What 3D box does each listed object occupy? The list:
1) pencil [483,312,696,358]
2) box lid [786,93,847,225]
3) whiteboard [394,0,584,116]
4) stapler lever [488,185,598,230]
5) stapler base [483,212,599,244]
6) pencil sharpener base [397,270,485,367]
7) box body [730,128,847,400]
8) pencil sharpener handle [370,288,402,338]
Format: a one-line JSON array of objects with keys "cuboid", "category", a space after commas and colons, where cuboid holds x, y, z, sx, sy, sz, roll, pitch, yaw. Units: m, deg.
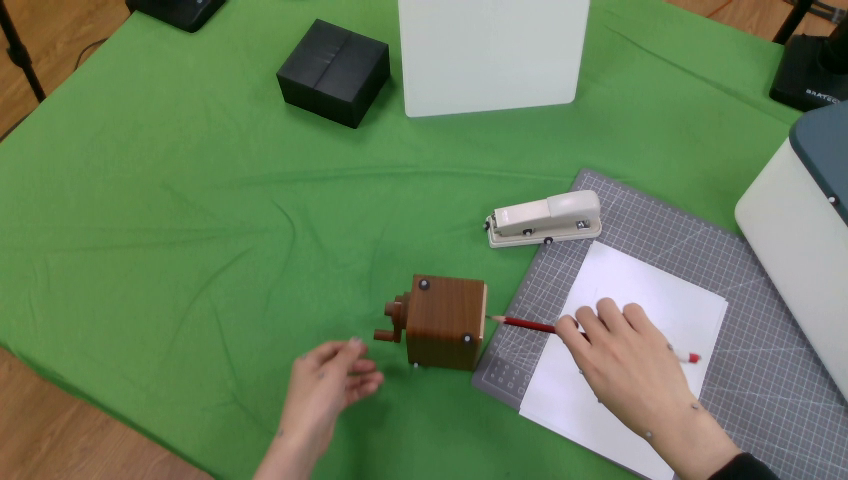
[{"cuboid": [0.149, 0.084, 0.553, 0.194, 0.012, 0.012, 11, 64, 4], "category": "pencil"}, {"cuboid": [0.511, 0.001, 0.517, 0.263, 0.015, 0.368, -17, 66, -9], "category": "box lid"}, {"cuboid": [0.068, -0.323, 0.706, 0.217, 0.308, 0.142, -6, 45, -3], "category": "whiteboard"}, {"cuboid": [0.130, -0.035, 0.661, 0.118, 0.040, 0.026, -7, 60, -1], "category": "stapler lever"}, {"cuboid": [0.133, -0.024, 0.683, 0.130, 0.024, 0.041, -7, 60, 0], "category": "stapler base"}, {"cuboid": [0.015, 0.078, 0.587, 0.076, 0.108, 0.061, 5, 64, 3], "category": "pencil sharpener base"}, {"cuboid": [0.511, 0.035, 0.583, 0.254, 0.161, 0.360, -17, 65, -9], "category": "box body"}, {"cuboid": [-0.036, 0.071, 0.575, 0.030, 0.068, 0.035, 5, 48, 3], "category": "pencil sharpener handle"}]
